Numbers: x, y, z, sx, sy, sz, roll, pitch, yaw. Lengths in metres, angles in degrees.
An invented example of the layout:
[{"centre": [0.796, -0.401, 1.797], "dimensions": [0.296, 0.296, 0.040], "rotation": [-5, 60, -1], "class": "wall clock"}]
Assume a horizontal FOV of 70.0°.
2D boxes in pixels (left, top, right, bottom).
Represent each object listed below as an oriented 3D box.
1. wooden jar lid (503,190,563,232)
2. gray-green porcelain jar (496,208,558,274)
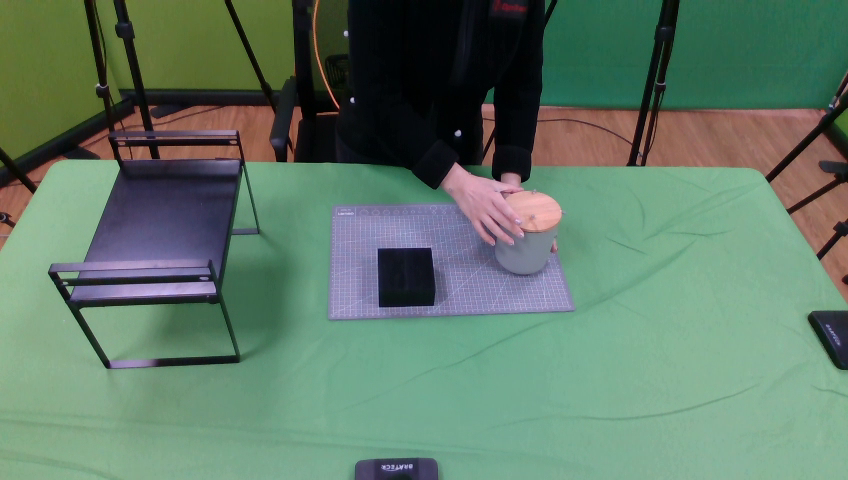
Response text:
[{"centre": [0.195, -0.049, 1.094], "dimensions": [0.108, 0.021, 0.107], "rotation": [1, 44, -1], "class": "wooden jar lid"}, {"centre": [0.192, -0.007, 1.141], "dimensions": [0.106, 0.127, 0.105], "rotation": [1, 47, -1], "class": "gray-green porcelain jar"}]
